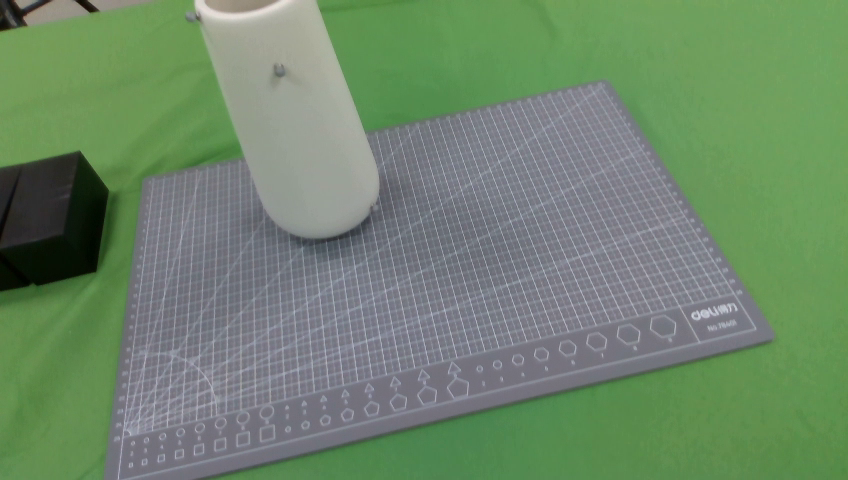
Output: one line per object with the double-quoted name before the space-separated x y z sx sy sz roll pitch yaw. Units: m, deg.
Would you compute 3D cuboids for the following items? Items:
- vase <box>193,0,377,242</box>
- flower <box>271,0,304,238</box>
"vase" -0.097 -0.089 0.444 0.098 0.202 0.097 -4 50 6
"flower" -0.093 -0.151 0.386 0.044 0.364 0.038 12 37 13
